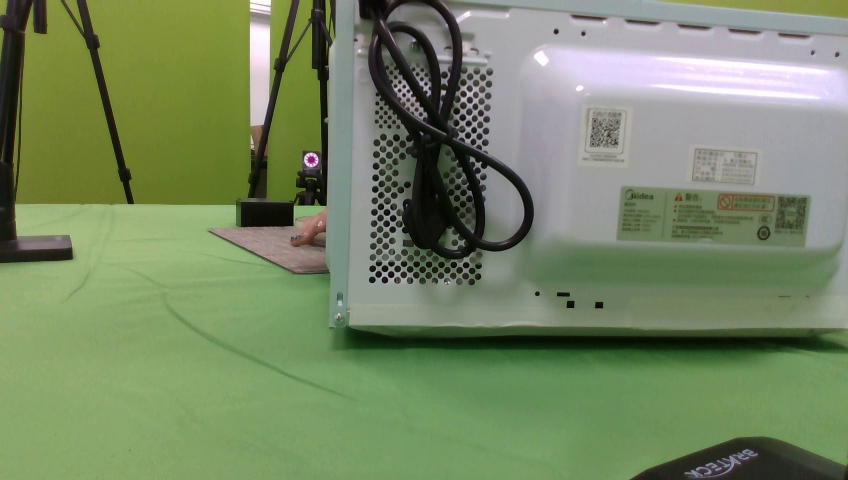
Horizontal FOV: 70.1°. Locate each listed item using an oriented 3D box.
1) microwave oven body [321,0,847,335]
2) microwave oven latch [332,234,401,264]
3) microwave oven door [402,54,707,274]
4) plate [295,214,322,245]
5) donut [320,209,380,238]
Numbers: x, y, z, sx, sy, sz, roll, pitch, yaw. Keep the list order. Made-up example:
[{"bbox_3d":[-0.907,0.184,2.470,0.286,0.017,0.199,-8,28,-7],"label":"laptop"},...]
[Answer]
[{"bbox_3d":[0.133,-0.062,0.568,0.443,0.260,0.325,2,7,-8],"label":"microwave oven body"},{"bbox_3d":[-0.066,0.010,0.700,0.079,0.029,0.030,2,7,-8],"label":"microwave oven latch"},{"bbox_3d":[0.156,-0.085,0.717,0.357,0.243,0.039,1,8,-8],"label":"microwave oven door"},{"bbox_3d":[-0.107,-0.016,0.997,0.209,0.038,0.209,2,7,0],"label":"plate"},{"bbox_3d":[-0.121,-0.027,0.995,0.099,0.048,0.099,2,4,0],"label":"donut"}]
